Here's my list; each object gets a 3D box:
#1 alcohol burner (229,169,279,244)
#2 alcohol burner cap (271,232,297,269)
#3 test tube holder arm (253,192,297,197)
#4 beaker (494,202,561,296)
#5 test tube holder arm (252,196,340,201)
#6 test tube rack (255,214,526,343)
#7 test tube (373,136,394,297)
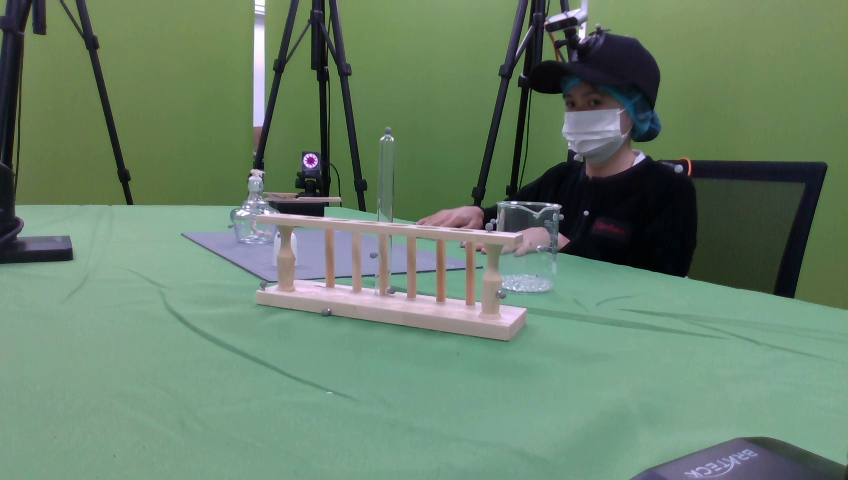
[{"bbox_3d":[-0.268,-0.053,0.958,0.078,0.119,0.078,2,5,0],"label":"alcohol burner"},{"bbox_3d":[-0.175,0.012,0.760,0.034,0.048,0.034,2,8,0],"label":"alcohol burner cap"},{"bbox_3d":[-0.301,-0.092,1.223,0.088,0.010,0.015,0,7,-25],"label":"test tube holder arm"},{"bbox_3d":[0.116,0.009,0.687,0.074,0.100,0.084,2,8,-4],"label":"beaker"},{"bbox_3d":[-0.260,-0.086,1.242,0.179,0.013,0.015,-1,7,-25],"label":"test tube holder arm"},{"bbox_3d":[-0.032,0.027,0.546,0.241,0.085,0.067,5,7,21],"label":"test tube rack"},{"bbox_3d":[-0.038,-0.021,0.564,0.017,0.150,0.017,2,6,0],"label":"test tube"}]
